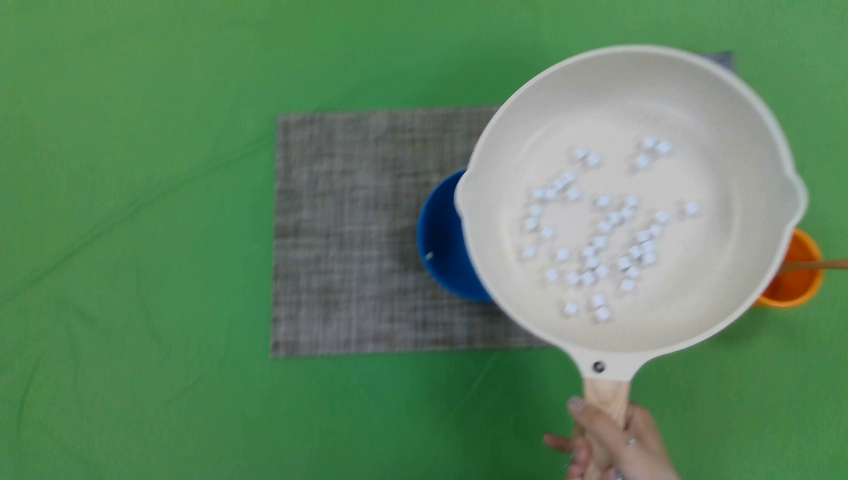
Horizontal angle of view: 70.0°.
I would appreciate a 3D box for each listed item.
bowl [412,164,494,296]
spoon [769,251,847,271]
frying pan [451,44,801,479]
[{"bbox_3d":[0.066,-0.007,0.697,0.151,0.077,0.151,0,80,2],"label":"bowl"},{"bbox_3d":[0.416,0.020,0.648,0.022,0.192,0.041,14,77,-40],"label":"spoon"},{"bbox_3d":[0.168,0.059,0.556,0.306,0.103,0.485,3,73,17],"label":"frying pan"}]
